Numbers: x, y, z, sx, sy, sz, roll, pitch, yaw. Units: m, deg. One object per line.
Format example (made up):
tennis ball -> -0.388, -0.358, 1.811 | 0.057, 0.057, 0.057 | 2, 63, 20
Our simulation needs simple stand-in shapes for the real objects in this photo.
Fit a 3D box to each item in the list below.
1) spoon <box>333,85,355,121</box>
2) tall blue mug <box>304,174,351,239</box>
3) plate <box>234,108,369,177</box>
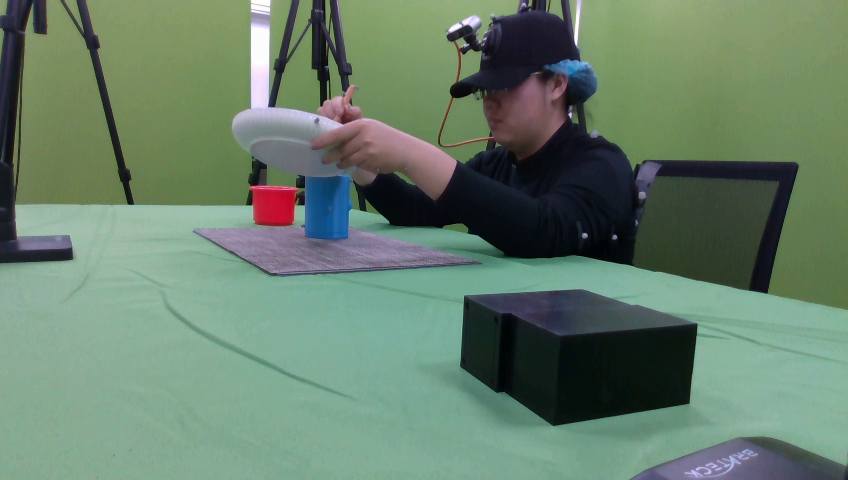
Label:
spoon -> -0.158, -0.218, 1.074 | 0.041, 0.022, 0.193 | -4, 42, 24
tall blue mug -> -0.178, -0.062, 1.062 | 0.078, 0.108, 0.106 | -5, 11, -38
plate -> -0.191, -0.140, 0.940 | 0.208, 0.039, 0.208 | 7, -14, 2
